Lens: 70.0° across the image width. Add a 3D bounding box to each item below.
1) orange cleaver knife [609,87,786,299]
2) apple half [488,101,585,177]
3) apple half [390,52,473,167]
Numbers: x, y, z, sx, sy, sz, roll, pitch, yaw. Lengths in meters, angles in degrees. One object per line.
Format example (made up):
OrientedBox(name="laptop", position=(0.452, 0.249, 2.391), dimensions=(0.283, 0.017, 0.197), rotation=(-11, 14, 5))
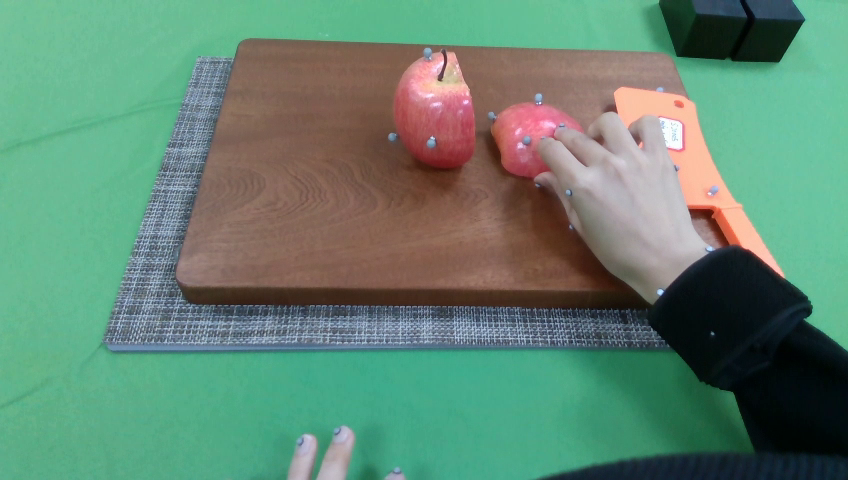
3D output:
OrientedBox(name="orange cleaver knife", position=(0.201, -0.046, 0.463), dimensions=(0.077, 0.012, 0.209), rotation=(-5, 56, -9))
OrientedBox(name="apple half", position=(0.091, -0.089, 0.479), dimensions=(0.081, 0.033, 0.080), rotation=(1, 55, -1))
OrientedBox(name="apple half", position=(0.002, -0.094, 0.451), dimensions=(0.053, 0.075, 0.080), rotation=(-11, 59, -6))
